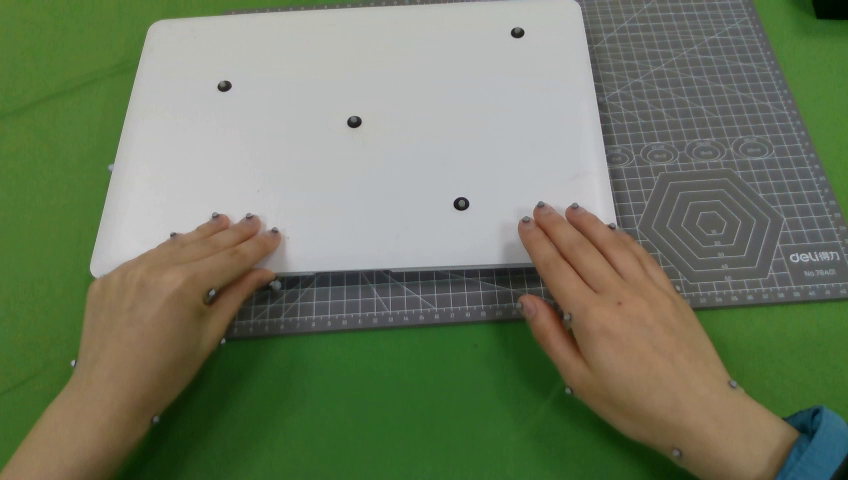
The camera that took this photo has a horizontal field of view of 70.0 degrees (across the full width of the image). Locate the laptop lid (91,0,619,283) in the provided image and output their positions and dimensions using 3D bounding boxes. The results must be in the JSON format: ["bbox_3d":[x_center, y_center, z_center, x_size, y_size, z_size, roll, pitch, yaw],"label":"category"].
[{"bbox_3d":[-0.050,-0.082,0.443,0.356,0.013,0.239,-1,65,3],"label":"laptop lid"}]

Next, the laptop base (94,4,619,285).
[{"bbox_3d":[-0.049,-0.078,0.454,0.354,0.023,0.233,-2,66,2],"label":"laptop base"}]
